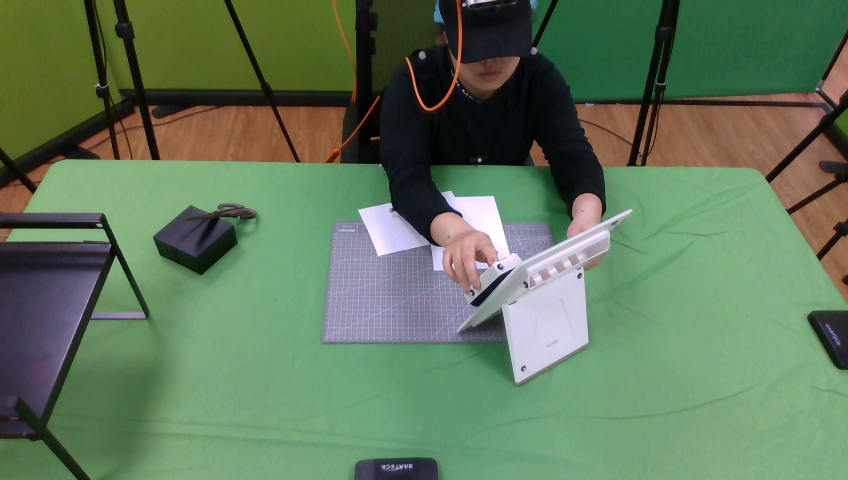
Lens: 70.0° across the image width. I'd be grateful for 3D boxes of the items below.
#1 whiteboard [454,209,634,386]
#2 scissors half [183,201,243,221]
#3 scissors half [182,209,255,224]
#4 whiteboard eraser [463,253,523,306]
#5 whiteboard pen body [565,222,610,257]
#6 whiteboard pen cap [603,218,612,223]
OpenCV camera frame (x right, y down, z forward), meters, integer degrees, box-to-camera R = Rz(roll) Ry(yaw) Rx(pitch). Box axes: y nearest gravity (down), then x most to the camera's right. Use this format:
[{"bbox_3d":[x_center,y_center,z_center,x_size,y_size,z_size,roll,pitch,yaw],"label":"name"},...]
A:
[{"bbox_3d":[0.211,0.111,0.954,0.217,0.306,0.143,-22,72,-24],"label":"whiteboard"},{"bbox_3d":[-0.406,-0.054,1.163,0.040,0.013,0.175,28,18,7],"label":"scissors half"},{"bbox_3d":[-0.389,-0.042,1.158,0.040,0.013,0.175,40,22,22],"label":"scissors half"},{"bbox_3d":[0.109,0.065,0.939,0.055,0.113,0.041,-20,70,-32],"label":"whiteboard eraser"},{"bbox_3d":[0.335,-0.003,1.228,0.141,0.017,0.017,-32,56,-29],"label":"whiteboard pen body"},{"bbox_3d":[0.379,-0.031,1.255,0.033,0.018,0.018,-33,56,-30],"label":"whiteboard pen cap"}]
